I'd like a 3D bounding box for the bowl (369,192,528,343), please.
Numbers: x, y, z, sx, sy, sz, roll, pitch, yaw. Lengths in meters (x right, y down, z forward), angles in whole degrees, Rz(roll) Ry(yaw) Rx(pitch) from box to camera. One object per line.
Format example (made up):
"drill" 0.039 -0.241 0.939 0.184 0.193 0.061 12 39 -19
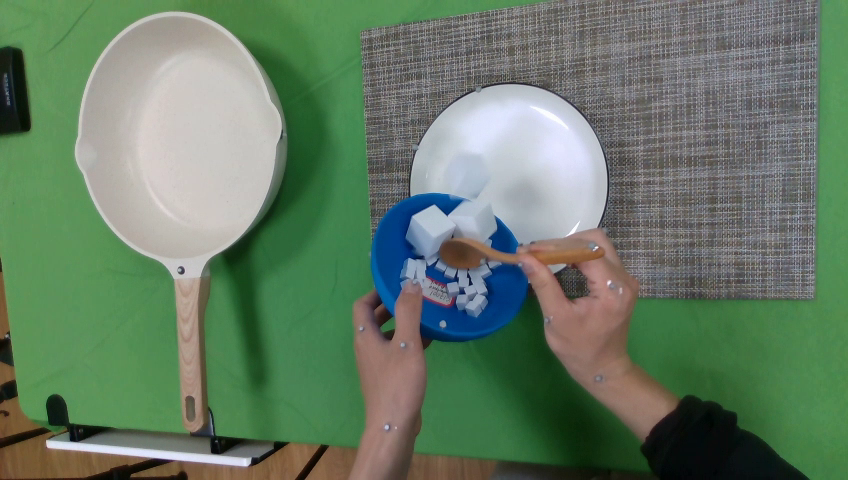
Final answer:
"bowl" 0.013 0.038 0.574 0.151 0.151 0.077 45 144 11

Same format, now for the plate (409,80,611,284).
"plate" 0.087 -0.057 0.627 0.207 0.039 0.208 2 96 20

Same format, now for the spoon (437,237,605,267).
"spoon" 0.073 0.013 0.507 0.042 0.192 0.021 45 69 -25

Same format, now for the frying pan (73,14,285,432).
"frying pan" -0.287 -0.015 0.736 0.306 0.103 0.487 -3 86 21
